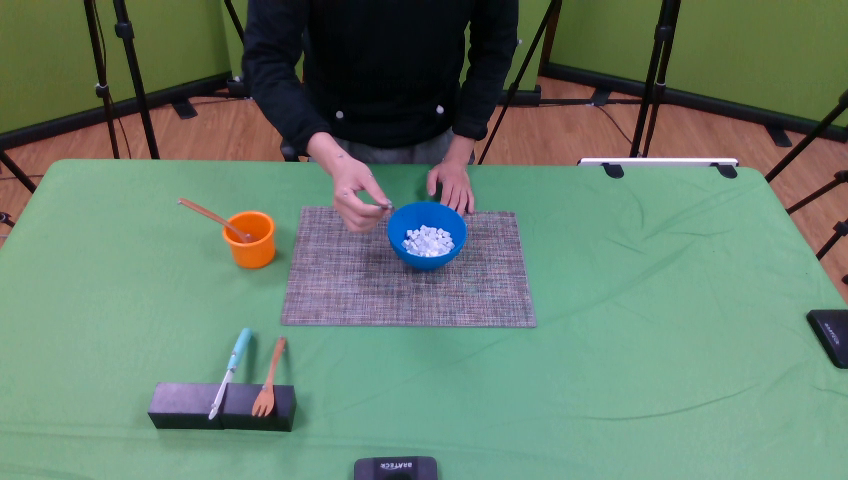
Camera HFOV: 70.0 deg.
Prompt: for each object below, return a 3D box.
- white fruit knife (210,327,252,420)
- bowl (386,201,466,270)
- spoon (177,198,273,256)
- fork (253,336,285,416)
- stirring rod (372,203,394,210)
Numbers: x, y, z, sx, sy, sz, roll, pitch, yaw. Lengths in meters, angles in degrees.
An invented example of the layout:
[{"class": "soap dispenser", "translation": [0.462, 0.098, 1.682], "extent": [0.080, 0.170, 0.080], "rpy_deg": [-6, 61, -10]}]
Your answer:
[{"class": "white fruit knife", "translation": [-0.298, 0.200, 0.937], "extent": [0.016, 0.027, 0.206], "rpy_deg": [0, 30, 0]}, {"class": "bowl", "translation": [0.002, 0.004, 1.150], "extent": [0.151, 0.077, 0.150], "rpy_deg": [2, 46, -2]}, {"class": "spoon", "translation": [-0.361, -0.025, 1.107], "extent": [0.021, 0.195, 0.041], "rpy_deg": [-31, 37, 29]}, {"class": "fork", "translation": [-0.235, 0.206, 0.938], "extent": [0.028, 0.019, 0.206], "rpy_deg": [-2, 26, -3]}, {"class": "stirring rod", "translation": [-0.066, -0.053, 0.955], "extent": [0.014, 0.006, 0.175], "rpy_deg": [9, 2, -12]}]
